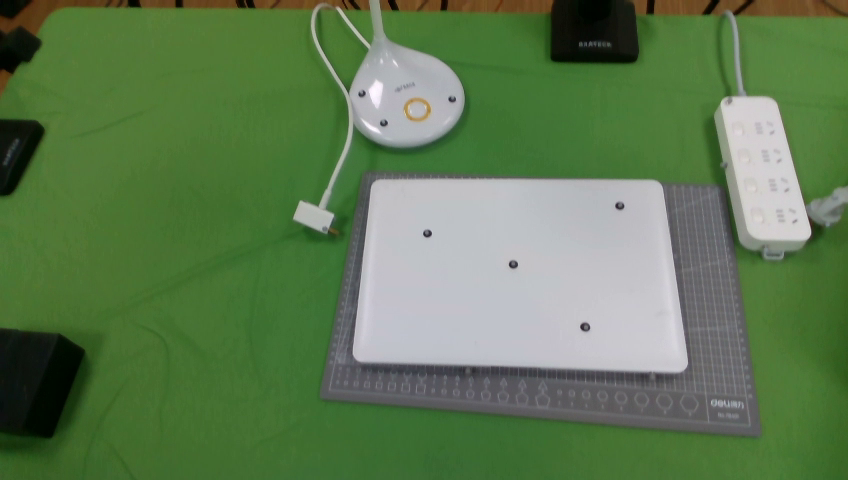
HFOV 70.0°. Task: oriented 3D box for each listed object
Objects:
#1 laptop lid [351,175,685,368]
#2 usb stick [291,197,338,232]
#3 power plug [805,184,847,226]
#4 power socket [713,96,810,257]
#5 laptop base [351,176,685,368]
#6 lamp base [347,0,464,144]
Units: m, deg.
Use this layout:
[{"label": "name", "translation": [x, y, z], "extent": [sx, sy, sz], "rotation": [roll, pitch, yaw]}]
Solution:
[{"label": "laptop lid", "translation": [0.101, 0.026, 0.686], "extent": [0.356, 0.013, 0.240], "rotation": [2, 64, 6]}, {"label": "usb stick", "translation": [-0.129, -0.029, 0.738], "extent": [0.059, 0.021, 0.027], "rotation": [27, 94, -7]}, {"label": "power plug", "translation": [0.471, -0.038, 0.694], "extent": [0.073, 0.053, 0.035], "rotation": [-8, 55, -18]}, {"label": "power socket", "translation": [0.402, -0.086, 0.731], "extent": [0.072, 0.033, 0.225], "rotation": [2, 61, 4]}, {"label": "laptop base", "translation": [0.102, 0.030, 0.697], "extent": [0.354, 0.023, 0.233], "rotation": [1, 64, 5]}, {"label": "lamp base", "translation": [-0.039, -0.243, 0.768], "extent": [0.160, 0.182, 0.177], "rotation": [-32, 60, -13]}]
